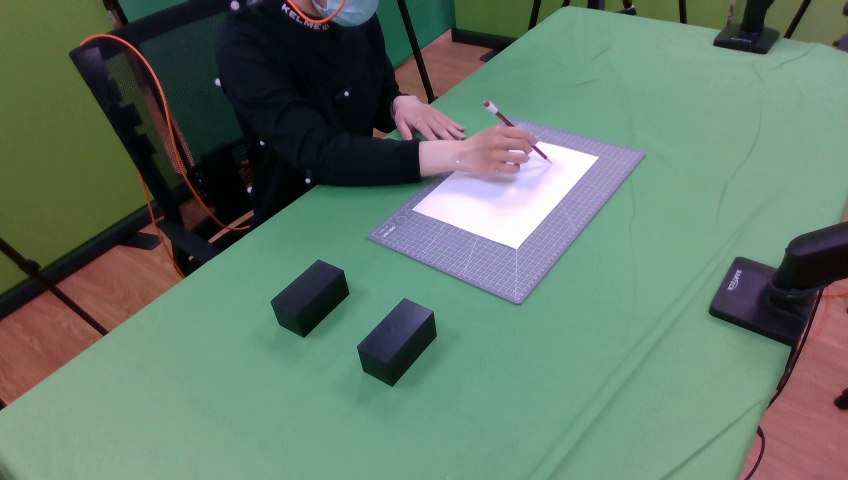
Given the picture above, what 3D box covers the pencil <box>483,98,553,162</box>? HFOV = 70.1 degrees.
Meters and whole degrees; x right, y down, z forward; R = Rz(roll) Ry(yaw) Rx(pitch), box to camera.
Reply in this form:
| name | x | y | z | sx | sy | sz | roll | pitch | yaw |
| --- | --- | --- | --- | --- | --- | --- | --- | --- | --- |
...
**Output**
| name | x | y | z | sx | sy | sz | roll | pitch | yaw |
| --- | --- | --- | --- | --- | --- | --- | --- | --- | --- |
| pencil | 0.169 | -0.188 | 1.056 | 0.012 | 0.196 | 0.012 | -31 | 42 | 33 |
